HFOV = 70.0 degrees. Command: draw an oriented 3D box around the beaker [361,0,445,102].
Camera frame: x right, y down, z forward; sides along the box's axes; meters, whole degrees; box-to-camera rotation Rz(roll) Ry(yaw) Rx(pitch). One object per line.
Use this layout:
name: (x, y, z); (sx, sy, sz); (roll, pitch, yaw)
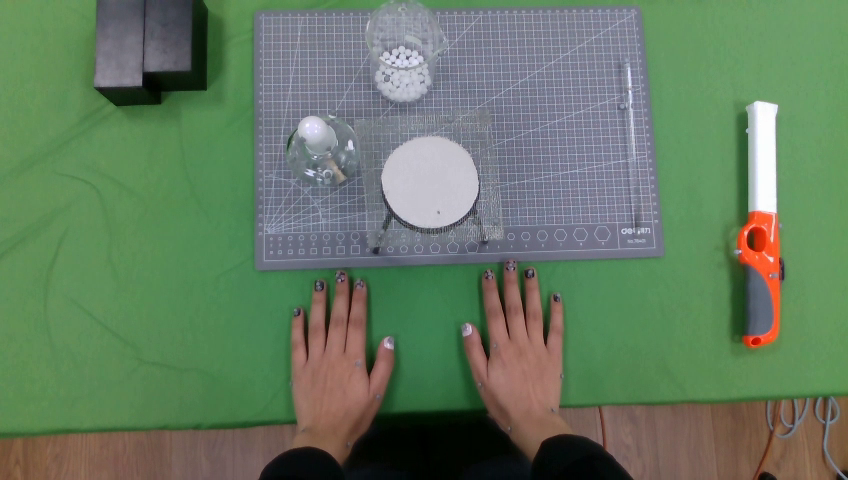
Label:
beaker: (-0.022, -0.196, 0.644); (0.084, 0.100, 0.074); (7, 81, -2)

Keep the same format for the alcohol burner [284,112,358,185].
alcohol burner: (-0.107, -0.099, 0.619); (0.078, 0.119, 0.077); (0, 79, -2)

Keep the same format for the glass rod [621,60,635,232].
glass rod: (0.232, -0.107, 0.688); (0.008, 0.008, 0.199); (-1, 85, -3)

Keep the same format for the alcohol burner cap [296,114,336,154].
alcohol burner cap: (-0.106, -0.104, 0.583); (0.034, 0.048, 0.034); (0, 86, 4)

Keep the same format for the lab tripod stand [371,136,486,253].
lab tripod stand: (0.001, -0.044, 0.605); (0.148, 0.132, 0.148); (0, 80, 0)

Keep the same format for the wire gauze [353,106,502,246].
wire gauze: (0.003, -0.058, 0.540); (0.125, 0.011, 0.121); (-5, 81, -3)

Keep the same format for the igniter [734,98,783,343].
igniter: (0.373, -0.023, 0.675); (0.057, 0.025, 0.275); (7, 82, -11)
